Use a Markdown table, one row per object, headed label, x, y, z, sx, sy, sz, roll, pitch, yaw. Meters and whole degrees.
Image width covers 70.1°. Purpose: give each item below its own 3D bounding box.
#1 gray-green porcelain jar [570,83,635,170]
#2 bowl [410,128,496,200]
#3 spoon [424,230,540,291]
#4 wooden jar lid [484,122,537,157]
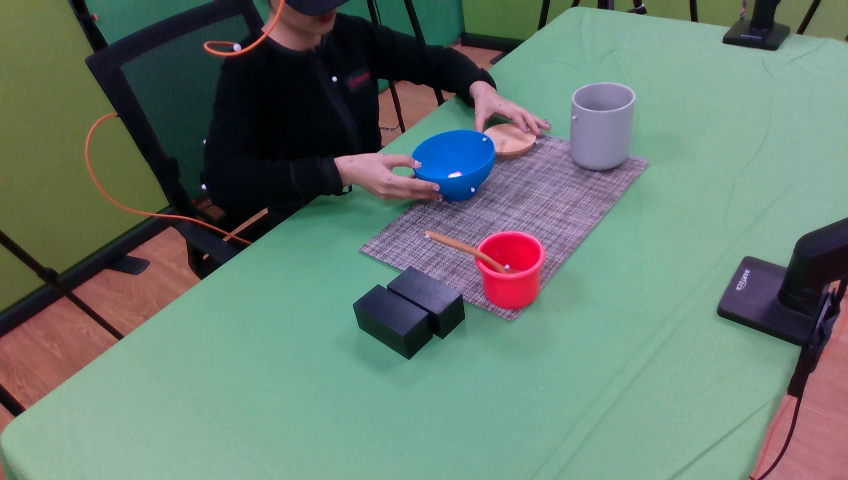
| label | x | y | z | sx | sy | sz | roll | pitch | yaw |
| --- | --- | --- | --- | --- | --- | --- | --- | --- | --- |
| gray-green porcelain jar | 0.313 | -0.197 | 1.069 | 0.106 | 0.127 | 0.105 | -6 | 40 | 5 |
| bowl | 0.056 | -0.124 | 1.066 | 0.151 | 0.077 | 0.150 | -8 | 41 | 7 |
| spoon | 0.083 | 0.026 | 0.836 | 0.195 | 0.021 | 0.041 | 29 | 31 | -24 |
| wooden jar lid | 0.165 | -0.195 | 1.177 | 0.108 | 0.021 | 0.108 | -4 | 41 | 4 |
